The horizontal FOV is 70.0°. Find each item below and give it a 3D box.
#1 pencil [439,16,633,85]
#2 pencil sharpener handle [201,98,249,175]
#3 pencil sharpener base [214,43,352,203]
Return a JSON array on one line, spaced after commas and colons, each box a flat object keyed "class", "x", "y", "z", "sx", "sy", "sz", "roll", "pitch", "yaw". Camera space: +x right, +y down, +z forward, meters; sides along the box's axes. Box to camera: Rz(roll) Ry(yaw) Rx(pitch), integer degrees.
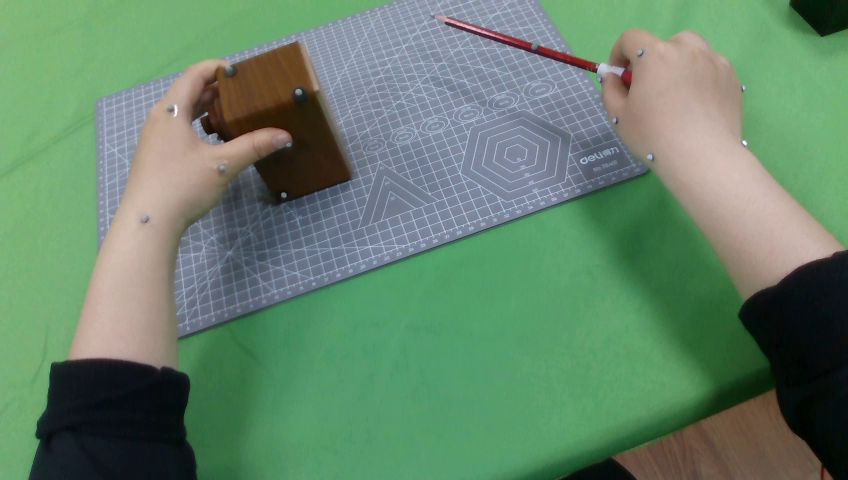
[{"class": "pencil", "x": 0.085, "y": -0.162, "z": 0.504, "sx": 0.192, "sy": 0.012, "sz": 0.012, "roll": 31, "pitch": 69, "yaw": 31}, {"class": "pencil sharpener handle", "x": -0.161, "y": -0.077, "z": 0.472, "sx": 0.030, "sy": 0.068, "sz": 0.035, "roll": -21, "pitch": 57, "yaw": -2}, {"class": "pencil sharpener base", "x": -0.111, "y": -0.089, "z": 0.485, "sx": 0.077, "sy": 0.108, "sz": 0.060, "roll": -21, "pitch": 58, "yaw": -2}]
